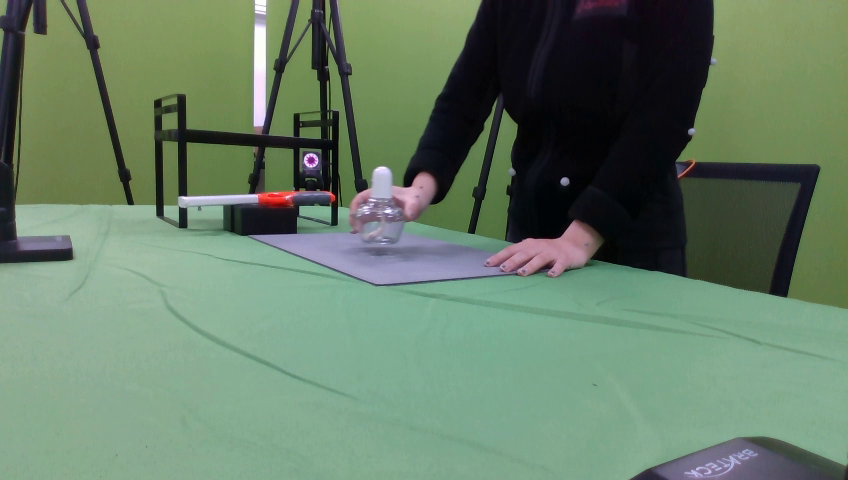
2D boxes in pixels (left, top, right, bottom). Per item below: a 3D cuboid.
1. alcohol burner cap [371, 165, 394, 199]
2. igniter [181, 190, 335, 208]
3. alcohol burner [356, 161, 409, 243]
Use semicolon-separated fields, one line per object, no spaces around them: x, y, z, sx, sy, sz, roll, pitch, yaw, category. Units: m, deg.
-0.059;-0.085;0.878;0.034;0.048;0.034;4;9;0;alcohol burner cap
-0.294;-0.075;1.103;0.278;0.025;0.057;-5;12;-33;igniter
-0.060;-0.055;0.881;0.078;0.119;0.078;3;9;0;alcohol burner
